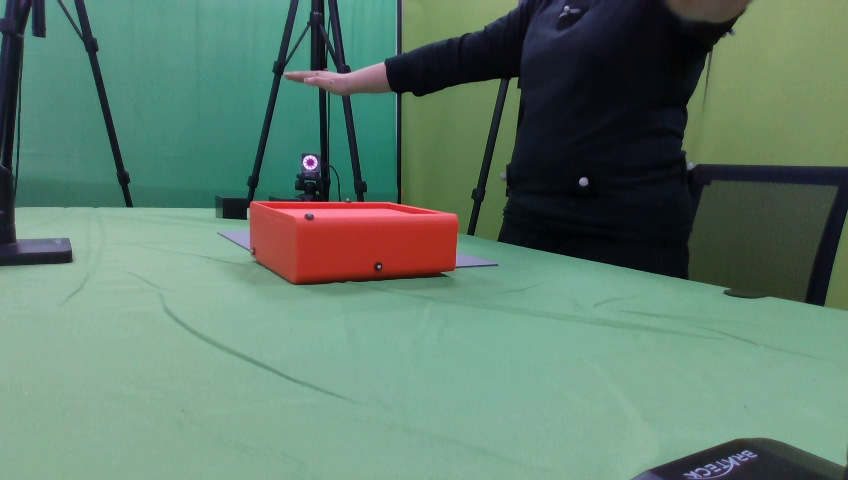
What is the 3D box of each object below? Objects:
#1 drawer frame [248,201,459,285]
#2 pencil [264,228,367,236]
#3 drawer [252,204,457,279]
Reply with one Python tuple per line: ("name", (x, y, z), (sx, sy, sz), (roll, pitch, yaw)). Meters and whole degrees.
("drawer frame", (-0.096, -0.005, 0.785), (0.215, 0.082, 0.200), (-3, 10, -31))
("pencil", (-0.195, -0.013, 1.109), (0.195, 0.012, 0.012), (1, 7, -28))
("drawer", (-0.095, -0.004, 0.787), (0.213, 0.073, 0.193), (-3, 10, -30))
